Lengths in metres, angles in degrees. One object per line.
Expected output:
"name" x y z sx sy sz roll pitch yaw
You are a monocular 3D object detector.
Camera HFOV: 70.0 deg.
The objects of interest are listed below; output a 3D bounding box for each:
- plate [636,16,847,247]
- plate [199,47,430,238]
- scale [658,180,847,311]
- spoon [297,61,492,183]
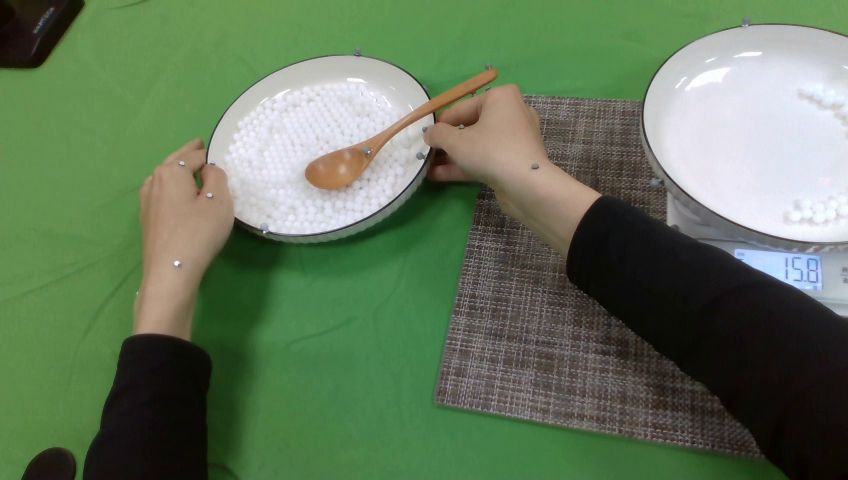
"plate" 0.262 -0.081 0.447 0.207 0.039 0.206 -3 59 6
"plate" -0.096 -0.087 0.546 0.209 0.038 0.207 -3 60 6
"scale" 0.260 -0.047 0.466 0.148 0.032 0.199 6 61 12
"spoon" -0.022 -0.105 0.526 0.194 0.022 0.041 -33 60 -2
